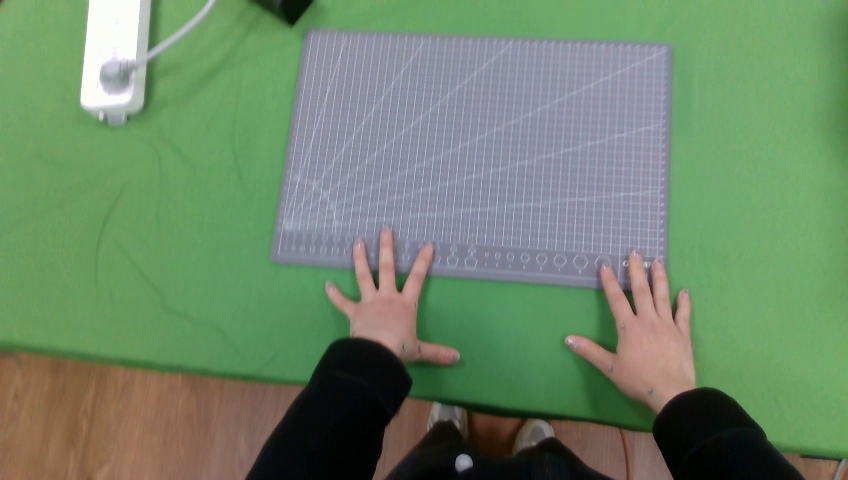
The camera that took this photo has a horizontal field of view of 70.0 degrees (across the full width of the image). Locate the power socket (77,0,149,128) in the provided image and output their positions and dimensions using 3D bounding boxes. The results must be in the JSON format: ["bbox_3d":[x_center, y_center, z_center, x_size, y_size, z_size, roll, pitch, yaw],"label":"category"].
[{"bbox_3d":[-0.398,-0.256,0.779,0.072,0.033,0.225,-4,76,4],"label":"power socket"}]

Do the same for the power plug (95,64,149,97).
[{"bbox_3d":[-0.366,-0.191,0.742,0.072,0.053,0.035,7,77,4],"label":"power plug"}]
